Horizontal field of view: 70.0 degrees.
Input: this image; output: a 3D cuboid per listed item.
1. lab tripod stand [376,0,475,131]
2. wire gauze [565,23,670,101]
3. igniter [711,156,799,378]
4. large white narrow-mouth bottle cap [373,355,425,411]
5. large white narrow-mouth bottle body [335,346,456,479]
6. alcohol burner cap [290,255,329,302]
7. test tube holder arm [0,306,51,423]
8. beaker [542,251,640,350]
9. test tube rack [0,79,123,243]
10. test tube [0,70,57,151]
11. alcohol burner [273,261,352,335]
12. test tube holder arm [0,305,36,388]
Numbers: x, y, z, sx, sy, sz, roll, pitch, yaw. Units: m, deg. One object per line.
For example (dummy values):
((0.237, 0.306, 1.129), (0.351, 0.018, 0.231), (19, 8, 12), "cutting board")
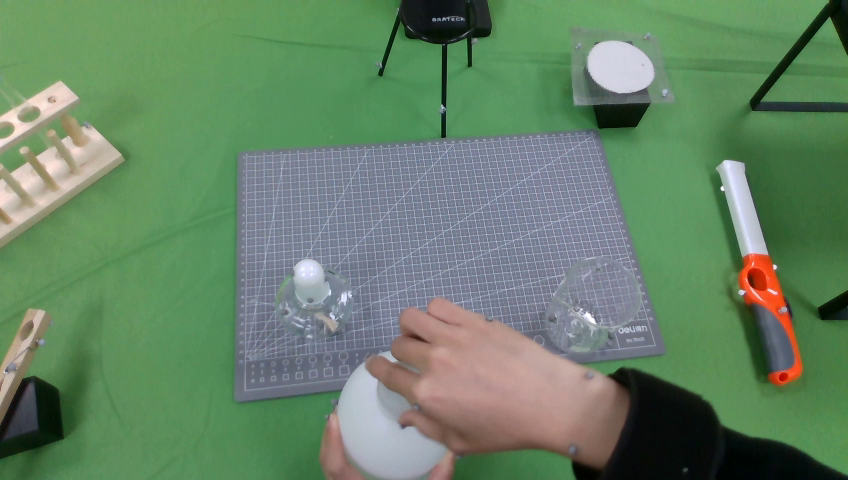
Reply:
((0.011, -0.228, 0.731), (0.148, 0.132, 0.147), (3, 64, -5), "lab tripod stand")
((0.240, -0.224, 0.762), (0.121, 0.011, 0.124), (2, 63, -3), "wire gauze")
((0.377, 0.022, 0.696), (0.057, 0.025, 0.274), (6, 63, -13), "igniter")
((-0.018, 0.100, 0.425), (0.038, 0.024, 0.037), (2, 63, -3), "large white narrow-mouth bottle cap")
((-0.024, 0.145, 0.511), (0.102, 0.196, 0.101), (2, 63, -3), "large white narrow-mouth bottle body")
((-0.108, 0.034, 0.560), (0.034, 0.048, 0.033), (1, 59, -1), "alcohol burner cap")
((-0.372, 0.142, 0.531), (0.013, 0.015, 0.177), (7, 64, 6), "test tube holder arm")
((0.161, 0.066, 0.614), (0.084, 0.101, 0.073), (-3, 63, -5), "beaker")
((-0.455, -0.058, 0.637), (0.066, 0.086, 0.242), (40, 68, 15), "test tube rack")
((-0.418, -0.140, 0.625), (0.017, 0.151, 0.017), (0, 62, 0), "test tube")
((-0.110, 0.050, 0.593), (0.078, 0.120, 0.077), (3, 62, -5), "alcohol burner")
((-0.371, 0.102, 0.550), (0.010, 0.015, 0.087), (6, 64, 5), "test tube holder arm")
